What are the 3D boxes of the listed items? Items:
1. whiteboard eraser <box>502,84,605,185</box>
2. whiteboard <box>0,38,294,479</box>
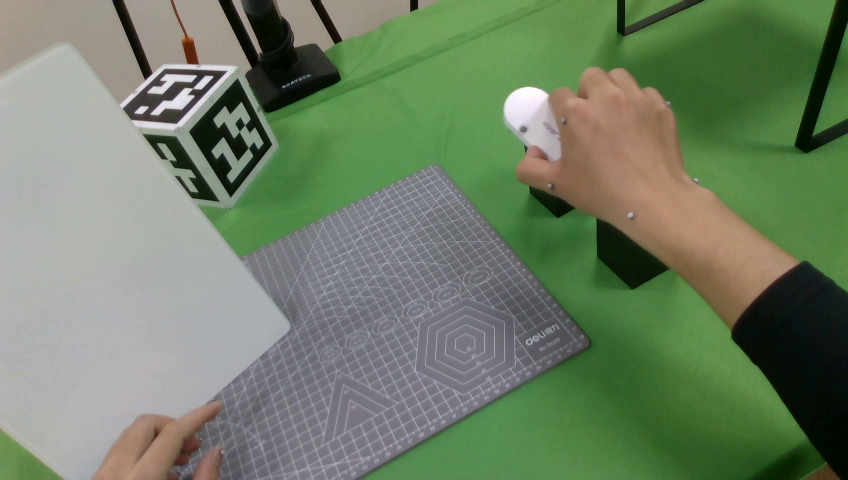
[{"bbox_3d":[0.104,-0.087,0.494,0.041,0.019,0.100,-39,75,-9],"label":"whiteboard eraser"},{"bbox_3d":[-0.302,0.025,0.520,0.217,0.308,0.142,-43,32,-21],"label":"whiteboard"}]
